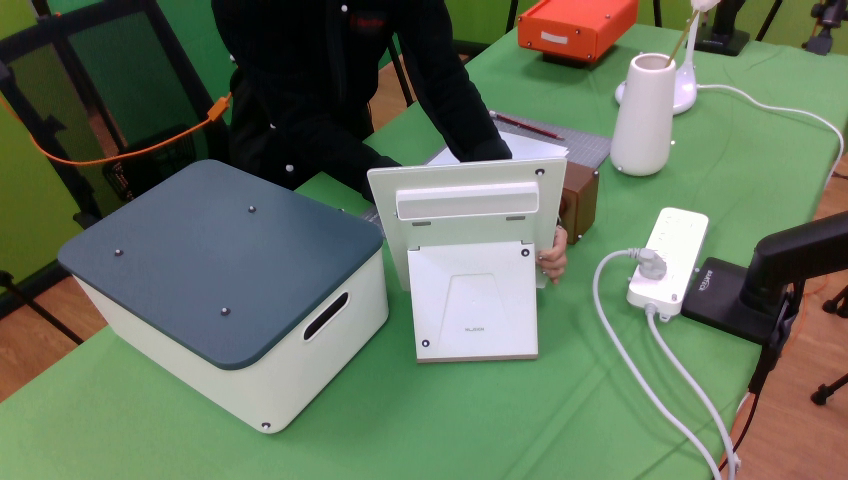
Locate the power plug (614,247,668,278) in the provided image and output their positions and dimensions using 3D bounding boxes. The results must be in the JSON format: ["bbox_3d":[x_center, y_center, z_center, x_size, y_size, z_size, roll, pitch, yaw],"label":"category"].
[{"bbox_3d":[0.306,0.031,0.851,0.072,0.053,0.035,24,49,33],"label":"power plug"}]

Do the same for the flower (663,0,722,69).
[{"bbox_3d":[0.379,-0.261,0.965,0.044,0.362,0.038,20,53,5],"label":"flower"}]

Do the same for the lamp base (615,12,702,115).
[{"bbox_3d":[0.484,-0.364,1.211,0.180,0.181,0.159,-15,41,-14],"label":"lamp base"}]

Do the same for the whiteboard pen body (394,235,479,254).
[{"bbox_3d":[0.018,0.005,0.962,0.140,0.017,0.017,9,43,15],"label":"whiteboard pen body"}]

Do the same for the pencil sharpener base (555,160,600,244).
[{"bbox_3d":[0.228,-0.057,0.945,0.061,0.107,0.077,24,50,31],"label":"pencil sharpener base"}]

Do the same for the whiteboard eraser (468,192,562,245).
[{"bbox_3d":[0.118,-0.023,0.784,0.112,0.056,0.041,-15,64,22],"label":"whiteboard eraser"}]

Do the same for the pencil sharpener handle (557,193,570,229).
[{"bbox_3d":[0.195,-0.038,0.908,0.035,0.068,0.031,23,50,32],"label":"pencil sharpener handle"}]

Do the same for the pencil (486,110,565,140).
[{"bbox_3d":[0.204,-0.233,1.226,0.192,0.012,0.012,29,52,33],"label":"pencil"}]

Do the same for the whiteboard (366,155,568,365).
[{"bbox_3d":[0.059,0.050,0.738,0.217,0.307,0.143,-3,60,5],"label":"whiteboard"}]

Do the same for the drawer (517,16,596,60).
[{"bbox_3d":[0.352,-0.506,1.405,0.193,0.073,0.212,23,49,32],"label":"drawer"}]

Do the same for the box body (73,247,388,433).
[{"bbox_3d":[-0.255,0.065,0.827,0.361,0.161,0.255,21,48,29],"label":"box body"}]

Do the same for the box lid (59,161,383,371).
[{"bbox_3d":[-0.262,0.010,0.777,0.369,0.015,0.264,21,48,29],"label":"box lid"}]

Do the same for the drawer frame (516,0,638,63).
[{"bbox_3d":[0.355,-0.508,1.411,0.200,0.083,0.214,23,51,32],"label":"drawer frame"}]

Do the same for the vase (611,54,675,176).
[{"bbox_3d":[0.377,-0.209,1.031,0.098,0.201,0.097,-3,40,3],"label":"vase"}]

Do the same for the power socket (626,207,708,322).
[{"bbox_3d":[0.359,0.026,0.886,0.072,0.033,0.227,16,46,26],"label":"power socket"}]

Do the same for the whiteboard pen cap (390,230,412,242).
[{"bbox_3d":[-0.037,-0.006,0.980,0.033,0.018,0.018,8,43,16],"label":"whiteboard pen cap"}]
